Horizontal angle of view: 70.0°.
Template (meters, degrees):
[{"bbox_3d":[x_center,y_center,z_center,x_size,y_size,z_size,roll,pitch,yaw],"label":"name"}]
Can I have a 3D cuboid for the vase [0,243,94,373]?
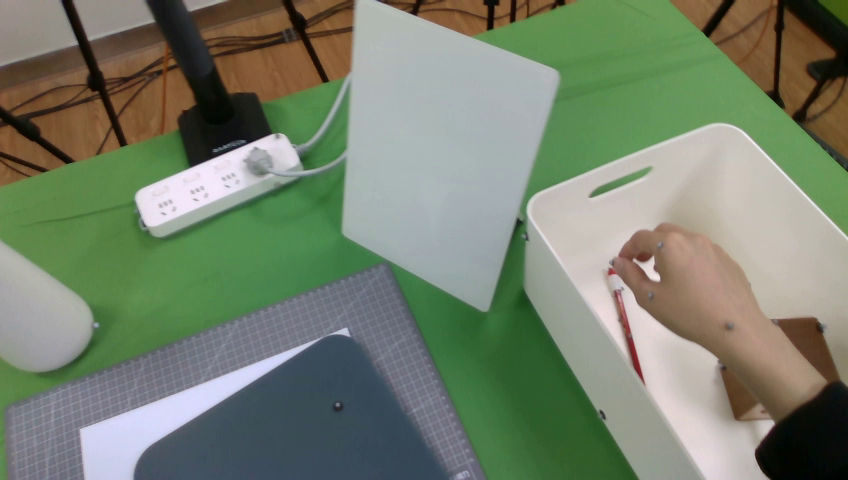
[{"bbox_3d":[-0.433,0.063,0.627,0.098,0.202,0.097,-2,57,3],"label":"vase"}]

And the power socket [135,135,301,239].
[{"bbox_3d":[-0.271,-0.073,0.805,0.227,0.033,0.071,-26,60,-14],"label":"power socket"}]

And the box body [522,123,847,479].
[{"bbox_3d":[0.283,0.091,0.595,0.254,0.162,0.360,-22,59,-11],"label":"box body"}]

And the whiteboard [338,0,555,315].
[{"bbox_3d":[0.037,-0.105,0.685,0.216,0.308,0.143,28,44,20],"label":"whiteboard"}]

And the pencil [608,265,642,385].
[{"bbox_3d":[0.226,0.115,0.668,0.012,0.012,0.192,-4,60,1],"label":"pencil"}]

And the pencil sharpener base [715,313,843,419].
[{"bbox_3d":[0.343,0.129,0.594,0.061,0.108,0.076,-2,57,0],"label":"pencil sharpener base"}]

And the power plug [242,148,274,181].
[{"bbox_3d":[-0.213,-0.087,0.784,0.035,0.053,0.072,-18,59,-8],"label":"power plug"}]

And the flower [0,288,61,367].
[{"bbox_3d":[-0.438,0.002,0.568,0.038,0.365,0.043,-32,43,-24],"label":"flower"}]

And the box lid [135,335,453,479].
[{"bbox_3d":[-0.094,0.285,0.578,0.263,0.015,0.368,-32,62,-17],"label":"box lid"}]

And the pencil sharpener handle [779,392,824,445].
[{"bbox_3d":[0.347,0.165,0.556,0.036,0.068,0.030,-9,56,10],"label":"pencil sharpener handle"}]
